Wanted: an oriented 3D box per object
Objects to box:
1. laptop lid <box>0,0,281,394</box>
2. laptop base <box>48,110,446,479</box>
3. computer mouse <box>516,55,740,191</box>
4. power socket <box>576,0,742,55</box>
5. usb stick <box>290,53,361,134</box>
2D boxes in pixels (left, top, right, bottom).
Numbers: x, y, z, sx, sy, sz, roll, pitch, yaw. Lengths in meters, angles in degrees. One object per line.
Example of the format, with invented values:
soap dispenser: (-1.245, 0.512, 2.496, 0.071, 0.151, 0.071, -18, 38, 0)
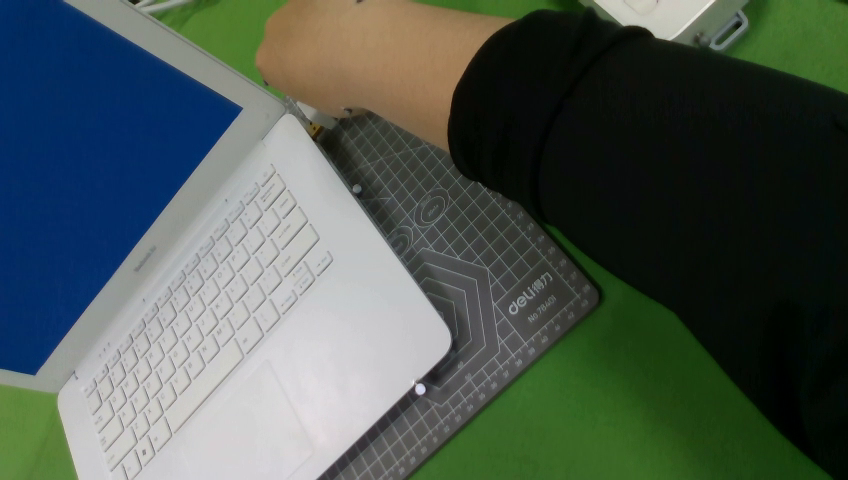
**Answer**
laptop lid: (-0.296, -0.021, 0.431, 0.357, 0.244, 0.013, -47, 46, 16)
laptop base: (-0.159, 0.101, 0.457, 0.354, 0.023, 0.233, -46, 62, 15)
computer mouse: (0.100, -0.062, 0.318, 0.116, 0.041, 0.062, 10, 88, 39)
power socket: (0.094, -0.189, 0.353, 0.072, 0.033, 0.224, -44, 59, 18)
usb stick: (-0.075, -0.102, 0.434, 0.059, 0.027, 0.021, -45, 57, 16)
